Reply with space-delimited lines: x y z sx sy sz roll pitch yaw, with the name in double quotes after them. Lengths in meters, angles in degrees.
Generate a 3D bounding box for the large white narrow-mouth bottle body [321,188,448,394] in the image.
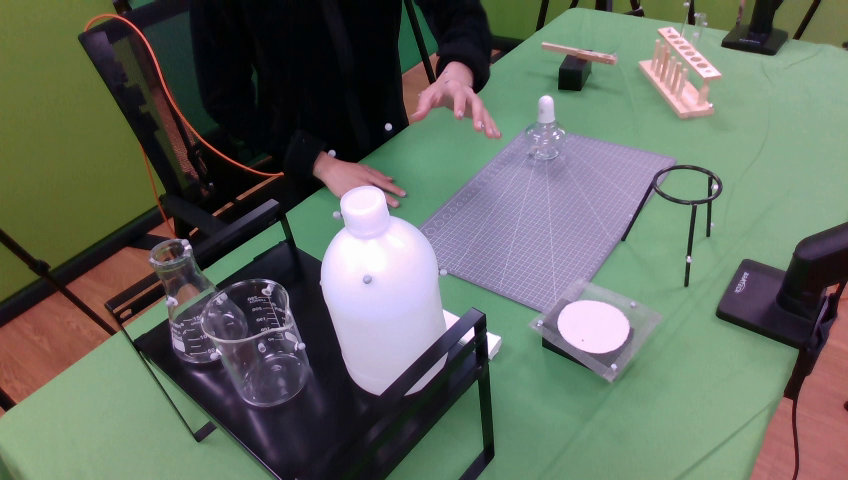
-0.035 0.041 0.527 0.102 0.195 0.101 -5 41 4 "large white narrow-mouth bottle body"

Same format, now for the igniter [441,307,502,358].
-0.009 0.094 0.870 0.274 0.025 0.057 25 60 33 "igniter"

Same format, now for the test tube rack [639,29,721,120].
0.527 -0.351 1.262 0.067 0.085 0.241 -8 40 1 "test tube rack"

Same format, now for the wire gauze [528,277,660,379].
0.213 0.103 0.763 0.124 0.011 0.122 30 52 35 "wire gauze"

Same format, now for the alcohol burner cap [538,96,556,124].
0.222 -0.237 1.095 0.034 0.048 0.033 -6 35 5 "alcohol burner cap"

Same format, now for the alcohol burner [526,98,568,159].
0.228 -0.210 1.118 0.078 0.119 0.077 -5 43 5 "alcohol burner"

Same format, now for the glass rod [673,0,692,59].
0.537 -0.437 1.257 0.008 0.200 0.008 0 39 1 "glass rod"

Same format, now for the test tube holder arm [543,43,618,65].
0.344 -0.413 1.341 0.177 0.015 0.013 25 50 31 "test tube holder arm"

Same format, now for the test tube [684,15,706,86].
0.541 -0.378 1.215 0.017 0.151 0.017 -2 44 3 "test tube"

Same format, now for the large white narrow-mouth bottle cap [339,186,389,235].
-0.046 -0.023 0.470 0.038 0.024 0.037 -4 41 4 "large white narrow-mouth bottle cap"

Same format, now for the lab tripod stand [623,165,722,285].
0.365 -0.030 0.874 0.148 0.132 0.147 -6 41 6 "lab tripod stand"

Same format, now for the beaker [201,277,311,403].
-0.146 0.095 0.555 0.083 0.101 0.074 11 44 20 "beaker"

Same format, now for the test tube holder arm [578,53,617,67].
0.376 -0.393 1.314 0.087 0.015 0.010 26 51 32 "test tube holder arm"

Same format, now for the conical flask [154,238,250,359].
-0.225 0.055 0.598 0.075 0.122 0.075 -5 41 4 "conical flask"
